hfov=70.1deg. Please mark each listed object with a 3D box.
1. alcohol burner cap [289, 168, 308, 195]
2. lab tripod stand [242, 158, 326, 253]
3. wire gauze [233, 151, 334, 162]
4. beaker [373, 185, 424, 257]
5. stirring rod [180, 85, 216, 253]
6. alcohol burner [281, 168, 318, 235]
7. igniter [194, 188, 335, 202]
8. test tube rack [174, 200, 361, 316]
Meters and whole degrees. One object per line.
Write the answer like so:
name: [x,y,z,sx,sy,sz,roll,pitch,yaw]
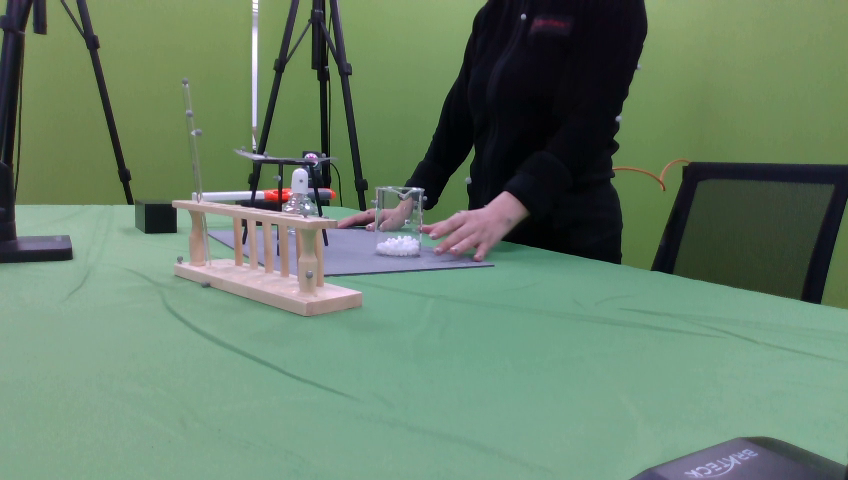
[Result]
alcohol burner cap: [-0.224,-0.105,1.081,0.034,0.048,0.034,3,3,0]
lab tripod stand: [-0.207,-0.054,0.895,0.148,0.131,0.148,2,5,0]
wire gauze: [-0.204,-0.120,0.887,0.122,0.011,0.124,0,7,-32]
beaker: [-0.037,-0.028,0.885,0.074,0.100,0.084,1,8,-11]
stirring rod: [-0.237,-0.073,0.634,0.006,0.176,0.014,0,9,42]
alcohol burner: [-0.225,-0.069,1.086,0.078,0.119,0.078,2,6,0]
igniter: [-0.312,-0.089,1.209,0.278,0.025,0.057,-5,13,-31]
test tube rack: [-0.169,0.009,0.622,0.241,0.085,0.067,9,9,41]
